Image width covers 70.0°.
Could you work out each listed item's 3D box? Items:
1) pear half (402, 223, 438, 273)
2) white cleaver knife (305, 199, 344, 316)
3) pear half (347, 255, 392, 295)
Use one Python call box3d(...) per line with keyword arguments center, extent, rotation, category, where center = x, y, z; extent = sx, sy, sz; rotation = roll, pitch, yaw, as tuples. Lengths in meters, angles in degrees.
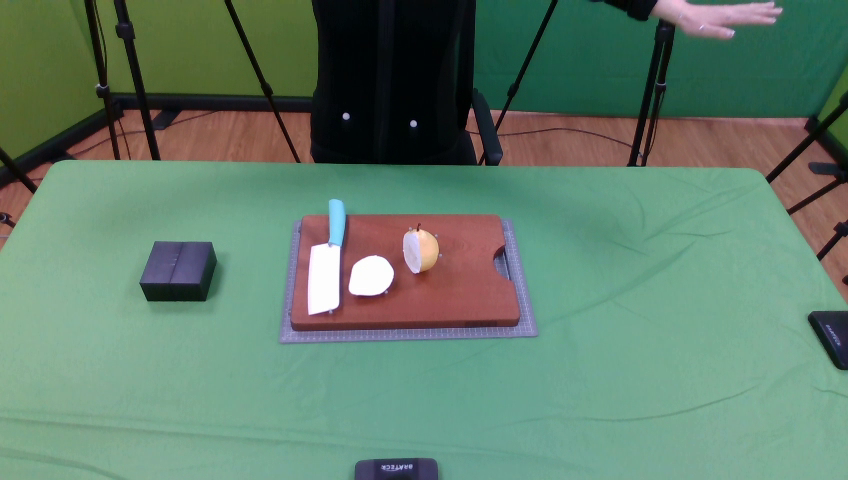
box3d(center=(-0.003, 0.004, 1.093), extent=(0.056, 0.110, 0.076), rotation=(-24, 56, -25), category="pear half")
box3d(center=(-0.185, 0.022, 1.123), extent=(0.066, 0.021, 0.284), rotation=(-7, 45, 2), category="white cleaver knife")
box3d(center=(-0.099, 0.069, 1.076), extent=(0.088, 0.031, 0.070), rotation=(-39, 75, -18), category="pear half")
